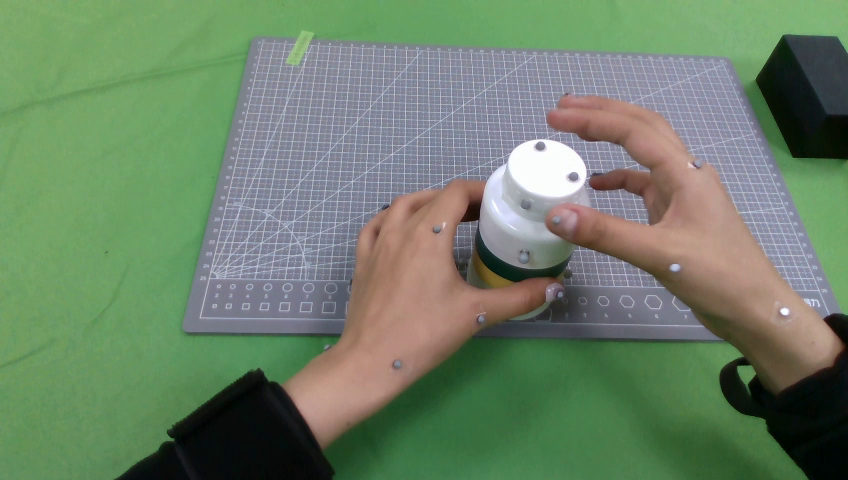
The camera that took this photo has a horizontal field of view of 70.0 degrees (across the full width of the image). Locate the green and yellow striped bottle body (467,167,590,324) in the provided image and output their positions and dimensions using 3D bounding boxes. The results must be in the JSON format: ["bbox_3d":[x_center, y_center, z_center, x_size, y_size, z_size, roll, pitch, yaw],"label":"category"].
[{"bbox_3d":[0.063,-0.002,0.375,0.063,0.120,0.062,1,55,-2],"label":"green and yellow striped bottle body"}]

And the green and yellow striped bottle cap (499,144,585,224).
[{"bbox_3d":[0.065,-0.032,0.332,0.045,0.020,0.045,3,53,-3],"label":"green and yellow striped bottle cap"}]
